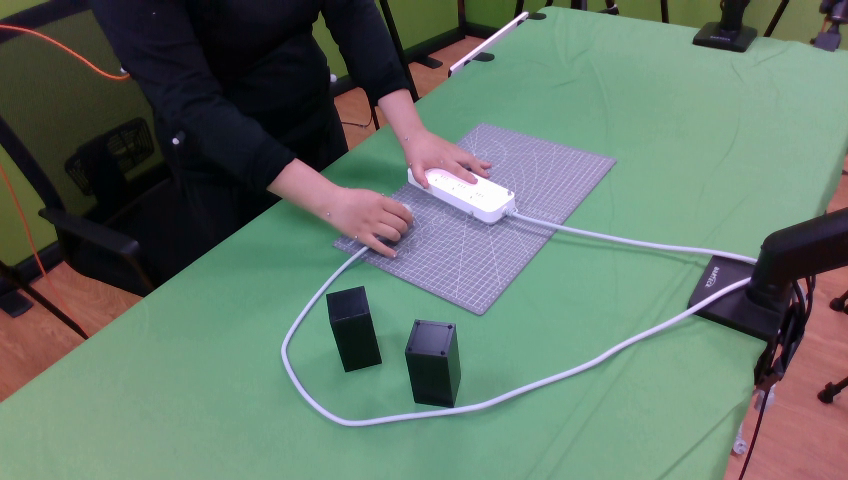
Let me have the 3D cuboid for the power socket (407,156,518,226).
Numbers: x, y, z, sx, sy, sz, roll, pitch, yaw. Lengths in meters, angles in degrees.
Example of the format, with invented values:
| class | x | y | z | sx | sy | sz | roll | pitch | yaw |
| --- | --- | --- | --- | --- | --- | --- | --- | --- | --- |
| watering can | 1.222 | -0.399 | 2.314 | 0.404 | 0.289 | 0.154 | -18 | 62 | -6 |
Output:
| class | x | y | z | sx | sy | sz | roll | pitch | yaw |
| --- | --- | --- | --- | --- | --- | --- | --- | --- | --- |
| power socket | 0.061 | -0.089 | 1.054 | 0.072 | 0.033 | 0.225 | -36 | 48 | -29 |

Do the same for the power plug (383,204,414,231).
| class | x | y | z | sx | sy | sz | roll | pitch | yaw |
| --- | --- | --- | --- | --- | --- | --- | --- | --- | --- |
| power plug | -0.049 | -0.036 | 0.992 | 0.073 | 0.052 | 0.035 | -22 | 85 | -28 |
